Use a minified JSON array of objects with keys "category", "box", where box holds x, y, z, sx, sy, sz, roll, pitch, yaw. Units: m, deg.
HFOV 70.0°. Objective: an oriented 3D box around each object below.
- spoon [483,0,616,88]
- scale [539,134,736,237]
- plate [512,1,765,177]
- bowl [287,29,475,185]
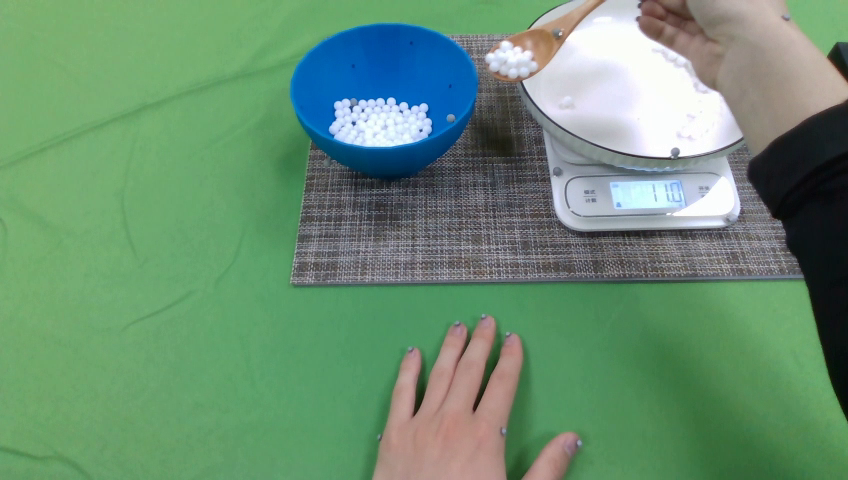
[{"category":"spoon","box":[0.131,-0.172,0.447,0.194,0.022,0.041,-32,65,14]},{"category":"scale","box":[0.177,-0.091,0.531,0.149,0.032,0.199,-1,55,0]},{"category":"plate","box":[0.176,-0.129,0.518,0.209,0.038,0.207,0,55,0]},{"category":"bowl","box":[-0.033,-0.100,0.513,0.151,0.077,0.150,-1,55,1]}]
